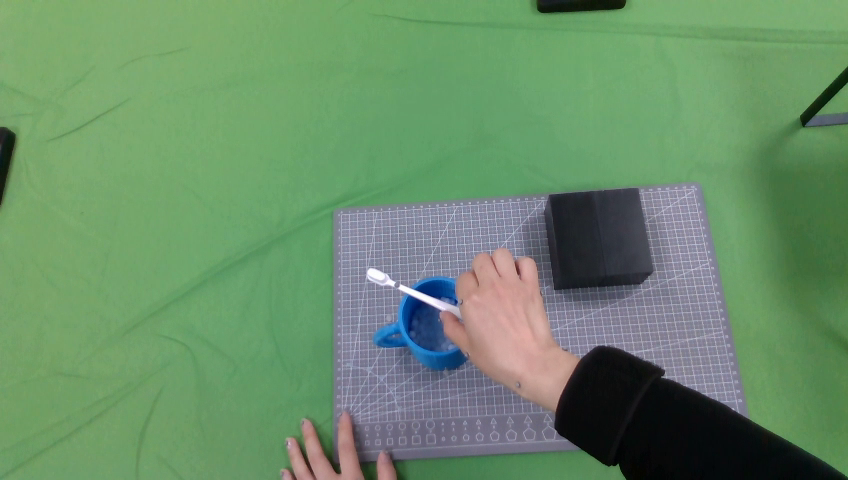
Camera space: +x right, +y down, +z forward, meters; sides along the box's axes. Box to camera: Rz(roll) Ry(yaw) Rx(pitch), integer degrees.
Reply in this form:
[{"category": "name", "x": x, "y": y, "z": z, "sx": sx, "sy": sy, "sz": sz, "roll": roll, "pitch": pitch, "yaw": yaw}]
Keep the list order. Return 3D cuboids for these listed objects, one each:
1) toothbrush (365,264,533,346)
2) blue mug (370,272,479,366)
[{"category": "toothbrush", "x": 0.022, "y": 0.063, "z": 0.594, "sx": 0.181, "sy": 0.017, "sz": 0.014, "roll": 23, "pitch": 67, "yaw": 10}, {"category": "blue mug", "x": 0.000, "y": 0.091, "z": 0.648, "sx": 0.116, "sy": 0.106, "sz": 0.082, "roll": -12, "pitch": 71, "yaw": -1}]
